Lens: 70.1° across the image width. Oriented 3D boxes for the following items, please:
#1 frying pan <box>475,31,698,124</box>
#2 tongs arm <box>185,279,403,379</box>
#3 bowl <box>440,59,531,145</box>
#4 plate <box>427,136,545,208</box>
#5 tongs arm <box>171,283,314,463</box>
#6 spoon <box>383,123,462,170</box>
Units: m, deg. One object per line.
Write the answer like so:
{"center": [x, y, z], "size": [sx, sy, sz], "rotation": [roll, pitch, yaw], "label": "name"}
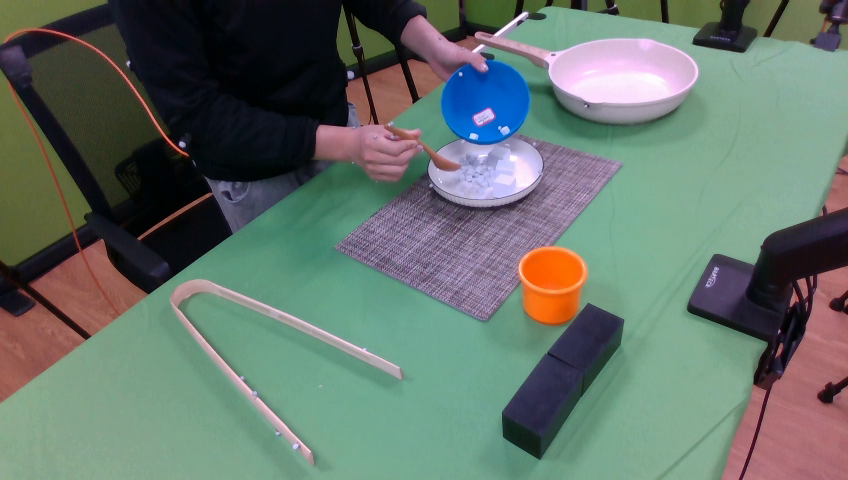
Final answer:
{"center": [0.320, -0.371, 1.290], "size": [0.485, 0.103, 0.307], "rotation": [28, 50, 23], "label": "frying pan"}
{"center": [-0.194, 0.119, 0.853], "size": [0.385, 0.028, 0.028], "rotation": [18, 49, 26], "label": "tongs arm"}
{"center": [0.106, -0.223, 1.038], "size": [0.151, 0.077, 0.151], "rotation": [-2, 75, 6], "label": "bowl"}
{"center": [0.109, -0.119, 1.073], "size": [0.207, 0.039, 0.206], "rotation": [-4, 41, 4], "label": "plate"}
{"center": [-0.246, 0.161, 0.806], "size": [0.381, 0.026, 0.051], "rotation": [29, 51, 36], "label": "tongs arm"}
{"center": [-0.002, -0.143, 0.935], "size": [0.041, 0.195, 0.021], "rotation": [0, 73, 37], "label": "spoon"}
